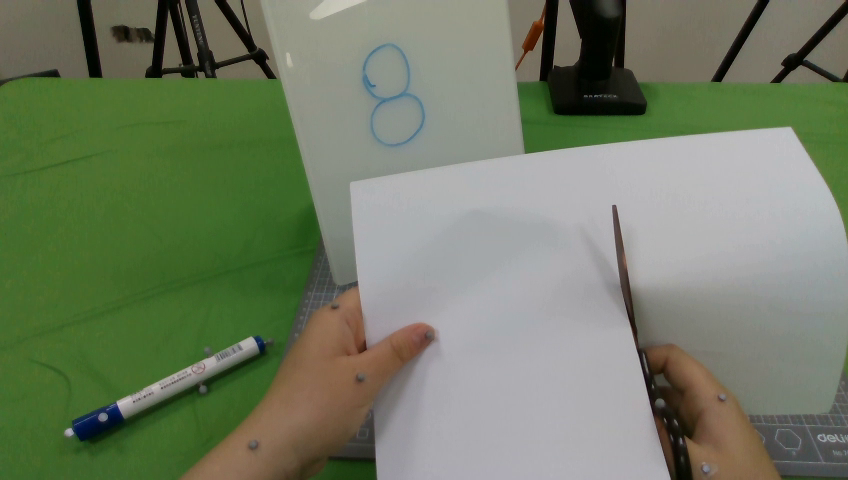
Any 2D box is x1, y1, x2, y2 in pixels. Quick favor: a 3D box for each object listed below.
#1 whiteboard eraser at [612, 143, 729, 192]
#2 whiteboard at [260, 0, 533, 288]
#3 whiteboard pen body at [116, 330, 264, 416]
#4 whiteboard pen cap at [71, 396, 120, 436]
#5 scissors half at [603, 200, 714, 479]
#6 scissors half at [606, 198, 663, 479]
[{"bbox_3d":[0.268,-0.080,0.666,0.113,0.042,0.055,0,42,0],"label":"whiteboard eraser"},{"bbox_3d":[-0.036,-0.145,0.594,0.218,0.307,0.142,-18,23,-17],"label":"whiteboard"},{"bbox_3d":[-0.191,0.107,0.471,0.141,0.017,0.017,-25,46,-28],"label":"whiteboard pen body"},{"bbox_3d":[-0.239,0.128,0.444,0.033,0.018,0.018,-26,46,-28],"label":"whiteboard pen cap"},{"bbox_3d":[0.129,0.057,0.348,0.013,0.040,0.174,-7,71,-19],"label":"scissors half"},{"bbox_3d":[0.122,0.062,0.368,0.013,0.175,0.040,-6,3,-25],"label":"scissors half"}]
